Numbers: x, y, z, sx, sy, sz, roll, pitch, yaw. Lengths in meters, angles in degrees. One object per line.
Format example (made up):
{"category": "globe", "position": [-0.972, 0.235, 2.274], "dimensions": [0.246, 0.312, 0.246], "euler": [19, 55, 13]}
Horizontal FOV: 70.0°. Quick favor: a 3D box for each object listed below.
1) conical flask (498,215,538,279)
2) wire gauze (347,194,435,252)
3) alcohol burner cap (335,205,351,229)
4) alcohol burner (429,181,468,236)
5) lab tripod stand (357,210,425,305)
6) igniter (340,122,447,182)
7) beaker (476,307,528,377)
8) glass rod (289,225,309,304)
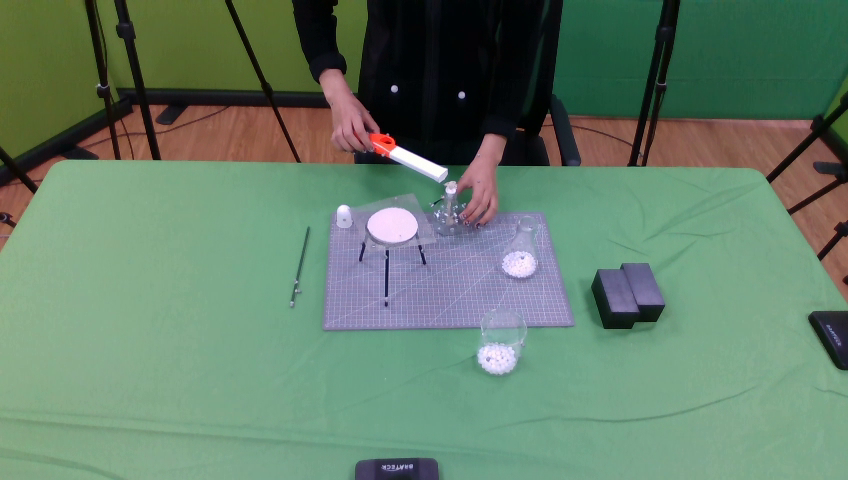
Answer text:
{"category": "conical flask", "position": [0.183, 0.010, 1.132], "dimensions": [0.075, 0.122, 0.075], "euler": [2, 46, -2]}
{"category": "wire gauze", "position": [-0.058, -0.029, 1.048], "dimensions": [0.125, 0.011, 0.120], "euler": [-12, 48, -16]}
{"category": "alcohol burner cap", "position": [-0.164, -0.049, 1.216], "dimensions": [0.034, 0.048, 0.033], "euler": [1, 45, -1]}
{"category": "alcohol burner", "position": [0.049, -0.067, 1.201], "dimensions": [0.078, 0.120, 0.077], "euler": [1, 46, -1]}
{"category": "lab tripod stand", "position": [-0.060, 0.020, 1.094], "dimensions": [0.148, 0.132, 0.147], "euler": [3, 44, -2]}
{"category": "igniter", "position": [-0.070, -0.183, 1.227], "dimensions": [0.275, 0.025, 0.057], "euler": [29, 55, 28]}
{"category": "beaker", "position": [0.122, 0.171, 0.991], "dimensions": [0.084, 0.101, 0.073], "euler": [-34, 56, -31]}
{"category": "glass rod", "position": [-0.235, 0.043, 1.149], "dimensions": [0.008, 0.008, 0.198], "euler": [3, 46, -1]}
